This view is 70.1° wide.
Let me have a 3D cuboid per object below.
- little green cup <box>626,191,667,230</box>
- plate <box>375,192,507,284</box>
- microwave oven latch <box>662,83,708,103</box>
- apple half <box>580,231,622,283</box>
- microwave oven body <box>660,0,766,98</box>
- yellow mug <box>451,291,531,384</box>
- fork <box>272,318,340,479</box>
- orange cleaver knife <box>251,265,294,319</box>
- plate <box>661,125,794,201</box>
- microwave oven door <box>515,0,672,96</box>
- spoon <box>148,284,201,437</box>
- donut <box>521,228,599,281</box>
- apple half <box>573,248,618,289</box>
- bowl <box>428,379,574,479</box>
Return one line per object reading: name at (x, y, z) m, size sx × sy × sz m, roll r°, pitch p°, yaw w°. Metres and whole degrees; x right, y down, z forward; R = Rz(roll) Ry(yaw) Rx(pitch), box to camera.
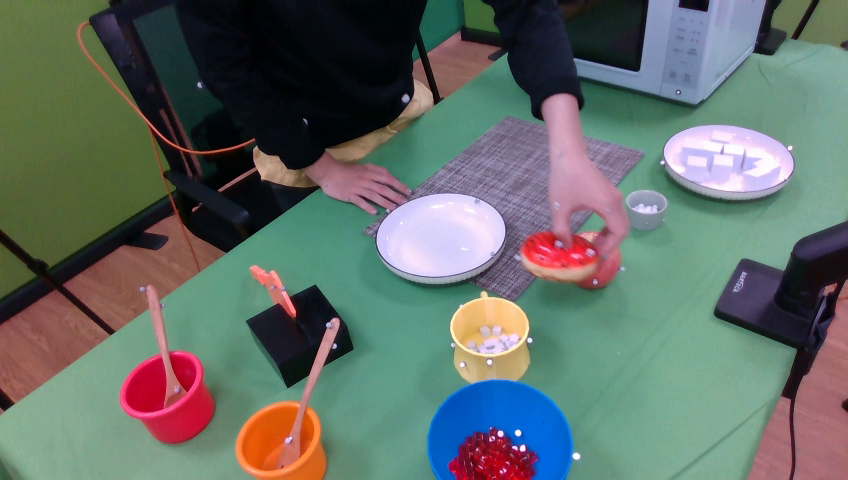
little green cup at (0.352, -0.046, 0.963) m, size 0.061 × 0.039 × 0.061 m, roll -4°, pitch 40°, yaw 4°
plate at (0.027, 0.000, 0.952) m, size 0.209 × 0.038 × 0.208 m, roll -4°, pitch 40°, yaw 4°
microwave oven latch at (0.519, -0.297, 1.205) m, size 0.030 × 0.029 × 0.078 m, roll -37°, pitch 47°, yaw -29°
apple half at (0.249, 0.021, 0.874) m, size 0.080 × 0.075 × 0.053 m, roll 13°, pitch 40°, yaw 28°
microwave oven body at (0.473, -0.513, 1.317) m, size 0.438 × 0.261 × 0.327 m, roll 26°, pitch 51°, yaw 34°
yellow mug at (0.086, 0.120, 0.786) m, size 0.100 × 0.064 × 0.130 m, roll -7°, pitch 39°, yaw 1°
fork at (-0.131, 0.186, 0.676) m, size 0.028 × 0.019 × 0.207 m, roll 17°, pitch 90°, yaw 28°
orange cleaver knife at (-0.221, 0.073, 0.876) m, size 0.012 × 0.077 × 0.210 m, roll -23°, pitch 12°, yaw -22°
plate at (0.514, -0.128, 1.035) m, size 0.207 × 0.039 × 0.206 m, roll -4°, pitch 40°, yaw 4°
microwave oven door at (0.343, -0.455, 1.259) m, size 0.353 × 0.245 × 0.039 m, roll 26°, pitch 51°, yaw 33°
spoon at (-0.317, 0.148, 0.755) m, size 0.042 × 0.021 × 0.193 m, roll -15°, pitch 86°, yaw -8°
donut at (0.173, 0.017, 0.769) m, size 0.099 × 0.048 × 0.098 m, roll 1°, pitch 28°, yaw 0°
apple half at (0.229, 0.043, 0.848) m, size 0.081 × 0.081 × 0.033 m, roll 16°, pitch 42°, yaw 26°
bowl at (0.082, 0.233, 0.644) m, size 0.151 × 0.077 × 0.150 m, roll -4°, pitch 39°, yaw 4°
